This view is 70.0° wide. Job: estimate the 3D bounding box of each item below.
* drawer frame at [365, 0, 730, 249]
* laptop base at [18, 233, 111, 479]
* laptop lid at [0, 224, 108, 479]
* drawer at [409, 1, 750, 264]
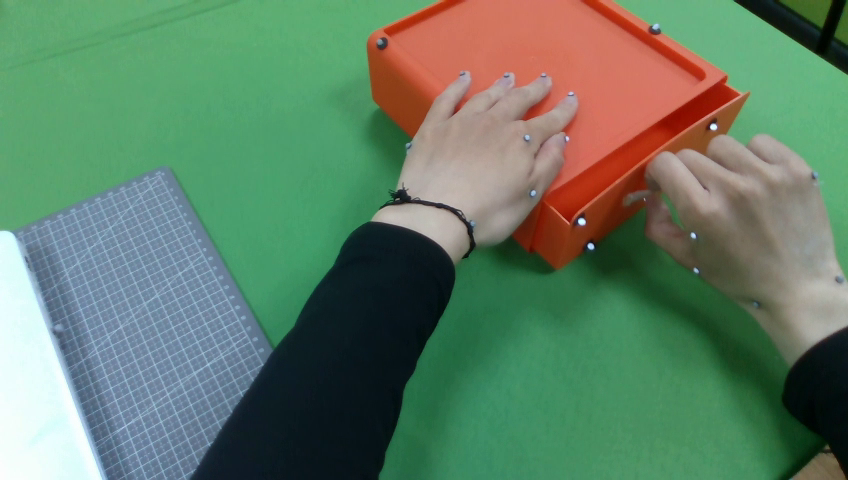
[{"bbox_3d":[0.094,-0.126,0.504,0.201,0.083,0.211,-34,62,-20],"label":"drawer frame"},{"bbox_3d":[-0.389,0.151,0.353,0.354,0.023,0.233,-29,65,-18],"label":"laptop base"},{"bbox_3d":[-0.387,0.146,0.342,0.357,0.013,0.239,-27,63,-17],"label":"laptop lid"},{"bbox_3d":[0.110,-0.112,0.495,0.194,0.074,0.210,-34,62,-20],"label":"drawer"}]
